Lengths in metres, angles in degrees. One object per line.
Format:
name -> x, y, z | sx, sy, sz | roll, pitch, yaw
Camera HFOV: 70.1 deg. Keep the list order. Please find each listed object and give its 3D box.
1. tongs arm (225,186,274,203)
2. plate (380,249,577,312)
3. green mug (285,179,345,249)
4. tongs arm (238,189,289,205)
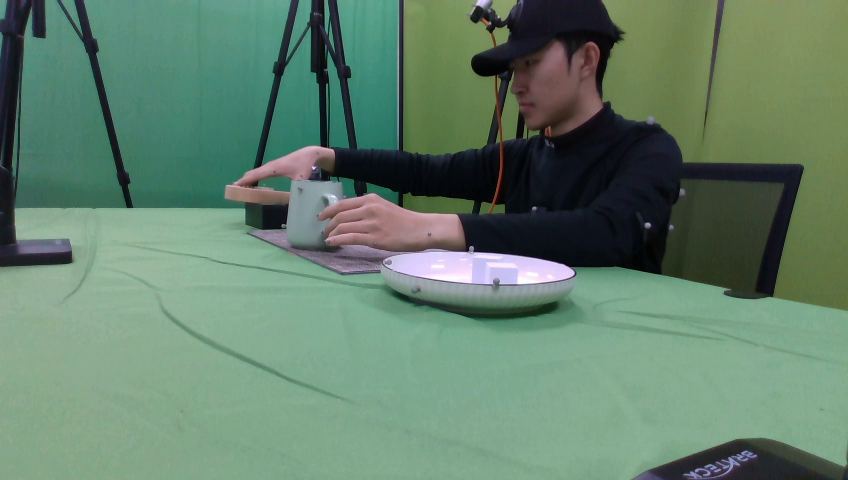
tongs arm -> -0.356, -0.099, 1.296 | 0.051, 0.026, 0.385 | 9, 5, 1
plate -> 0.056, 0.042, 0.646 | 0.209, 0.038, 0.209 | 2, 7, 0
green mug -> -0.161, -0.040, 0.937 | 0.093, 0.105, 0.124 | -2, 8, -32
tongs arm -> -0.279, -0.089, 1.289 | 0.028, 0.028, 0.388 | 14, 6, 13
